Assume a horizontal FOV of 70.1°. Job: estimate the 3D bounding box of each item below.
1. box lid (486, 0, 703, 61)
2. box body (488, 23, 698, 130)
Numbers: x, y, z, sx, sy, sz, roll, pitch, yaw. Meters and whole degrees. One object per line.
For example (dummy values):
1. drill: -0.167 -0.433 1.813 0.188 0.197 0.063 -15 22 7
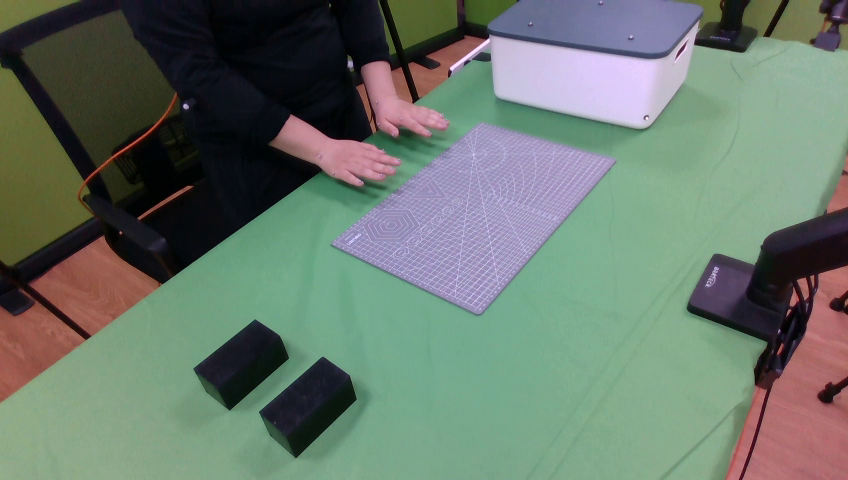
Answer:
1. box lid: 0.338 -0.435 1.208 0.369 0.015 0.264 20 47 29
2. box body: 0.345 -0.379 1.257 0.361 0.161 0.255 20 48 29
